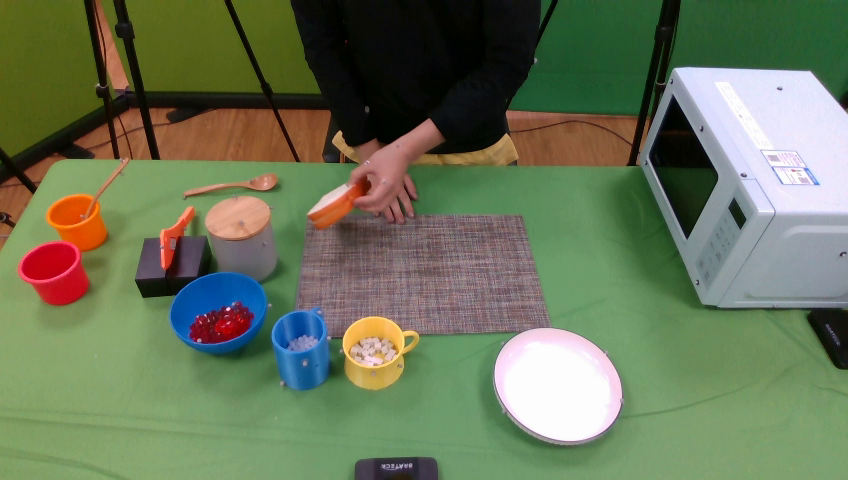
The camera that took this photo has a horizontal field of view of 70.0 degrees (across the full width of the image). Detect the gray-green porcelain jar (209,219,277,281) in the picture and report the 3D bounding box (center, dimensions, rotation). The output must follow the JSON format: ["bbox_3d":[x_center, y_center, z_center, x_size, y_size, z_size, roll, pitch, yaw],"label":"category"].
[{"bbox_3d":[-0.323,0.007,1.092,0.106,0.127,0.105,2,46,-2],"label":"gray-green porcelain jar"}]

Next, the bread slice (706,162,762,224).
[{"bbox_3d":[0.650,-0.104,1.263,0.105,0.019,0.131,13,70,10],"label":"bread slice"}]

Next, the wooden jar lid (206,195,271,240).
[{"bbox_3d":[-0.319,-0.036,1.046,0.108,0.021,0.107,1,44,0],"label":"wooden jar lid"}]

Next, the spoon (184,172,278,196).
[{"bbox_3d":[-0.405,-0.116,1.275,0.194,0.022,0.041,-8,66,-12],"label":"spoon"}]

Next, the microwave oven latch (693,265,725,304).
[{"bbox_3d":[0.523,0.081,1.116,0.030,0.029,0.078,2,46,-1],"label":"microwave oven latch"}]

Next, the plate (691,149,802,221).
[{"bbox_3d":[0.652,-0.108,1.238,0.209,0.038,0.208,-1,46,1],"label":"plate"}]

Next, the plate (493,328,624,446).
[{"bbox_3d":[0.213,0.236,0.974,0.208,0.039,0.206,2,46,-2],"label":"plate"}]

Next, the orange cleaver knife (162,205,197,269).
[{"bbox_3d":[-0.454,-0.010,1.129,0.012,0.077,0.210,-1,20,-5],"label":"orange cleaver knife"}]

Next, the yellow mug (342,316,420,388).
[{"bbox_3d":[-0.068,0.177,0.990,0.131,0.064,0.099,-16,50,-19],"label":"yellow mug"}]

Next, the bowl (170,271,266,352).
[{"bbox_3d":[-0.333,0.132,1.006,0.151,0.077,0.150,2,46,-2],"label":"bowl"}]

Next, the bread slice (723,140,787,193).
[{"bbox_3d":[0.661,-0.147,1.201,0.107,0.018,0.133,0,53,9],"label":"bread slice"}]

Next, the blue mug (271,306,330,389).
[{"bbox_3d":[-0.188,0.163,0.969,0.082,0.106,0.116,15,47,10],"label":"blue mug"}]

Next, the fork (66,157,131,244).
[{"bbox_3d":[-0.608,-0.074,1.132,0.207,0.019,0.028,-52,48,10],"label":"fork"}]

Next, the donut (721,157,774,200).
[{"bbox_3d":[0.648,-0.123,1.215,0.099,0.048,0.098,-3,55,5],"label":"donut"}]

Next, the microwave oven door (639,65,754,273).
[{"bbox_3d":[0.522,-0.147,1.193,0.039,0.245,0.353,0,47,-3],"label":"microwave oven door"}]

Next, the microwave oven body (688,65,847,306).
[{"bbox_3d":[0.669,-0.111,1.176,0.326,0.261,0.439,0,46,-3],"label":"microwave oven body"}]
